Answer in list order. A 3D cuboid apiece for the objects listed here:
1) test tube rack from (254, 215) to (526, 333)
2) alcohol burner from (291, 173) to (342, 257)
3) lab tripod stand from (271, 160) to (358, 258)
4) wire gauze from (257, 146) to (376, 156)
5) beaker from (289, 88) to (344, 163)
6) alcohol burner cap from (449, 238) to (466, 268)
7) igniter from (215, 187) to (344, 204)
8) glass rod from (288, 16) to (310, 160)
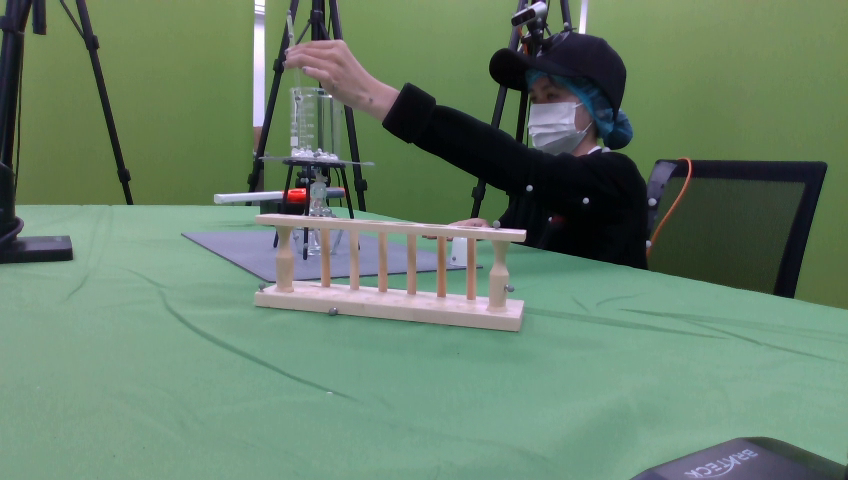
[{"bbox_3d":[-0.030,0.025,0.558,0.242,0.085,0.067,4,7,12],"label":"test tube rack"},{"bbox_3d":[-0.155,-0.037,0.870,0.078,0.119,0.078,1,6,0],"label":"alcohol burner"},{"bbox_3d":[-0.159,-0.048,0.876,0.148,0.131,0.148,3,5,0],"label":"lab tripod stand"},{"bbox_3d":[-0.155,-0.128,0.871,0.124,0.011,0.122,2,7,36],"label":"wire gauze"},{"bbox_3d":[-0.157,-0.160,0.862,0.083,0.100,0.074,6,7,34],"label":"beaker"},{"bbox_3d":[0.051,0.014,0.827,0.034,0.048,0.034,2,5,0],"label":"alcohol burner cap"},{"bbox_3d":[-0.290,-0.093,1.256,0.278,0.025,0.057,-6,12,-35],"label":"igniter"},{"bbox_3d":[-0.175,-0.212,0.849,0.008,0.199,0.008,-6,5,1],"label":"glass rod"}]
